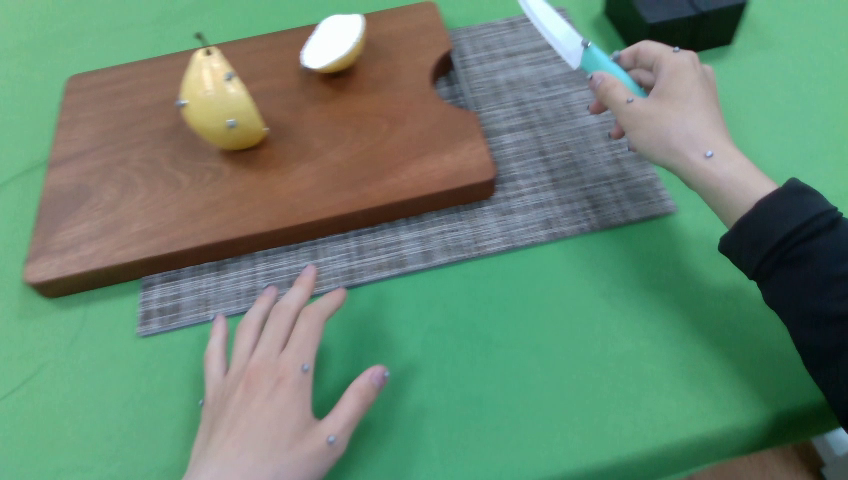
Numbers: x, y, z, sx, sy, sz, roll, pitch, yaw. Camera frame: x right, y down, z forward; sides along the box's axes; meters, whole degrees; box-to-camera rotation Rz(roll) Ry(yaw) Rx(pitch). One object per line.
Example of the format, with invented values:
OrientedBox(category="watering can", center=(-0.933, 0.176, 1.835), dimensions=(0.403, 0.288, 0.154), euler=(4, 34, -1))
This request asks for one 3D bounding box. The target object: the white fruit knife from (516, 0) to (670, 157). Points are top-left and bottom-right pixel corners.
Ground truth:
OrientedBox(category="white fruit knife", center=(0.133, -0.152, 0.503), dimensions=(0.016, 0.027, 0.206), euler=(-9, 58, -52))

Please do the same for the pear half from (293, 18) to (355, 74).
OrientedBox(category="pear half", center=(-0.095, -0.189, 0.603), dimensions=(0.070, 0.031, 0.087), euler=(-23, 39, 9))

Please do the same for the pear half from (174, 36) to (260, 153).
OrientedBox(category="pear half", center=(-0.189, -0.122, 0.520), dimensions=(0.056, 0.111, 0.075), euler=(-40, 56, -20))
